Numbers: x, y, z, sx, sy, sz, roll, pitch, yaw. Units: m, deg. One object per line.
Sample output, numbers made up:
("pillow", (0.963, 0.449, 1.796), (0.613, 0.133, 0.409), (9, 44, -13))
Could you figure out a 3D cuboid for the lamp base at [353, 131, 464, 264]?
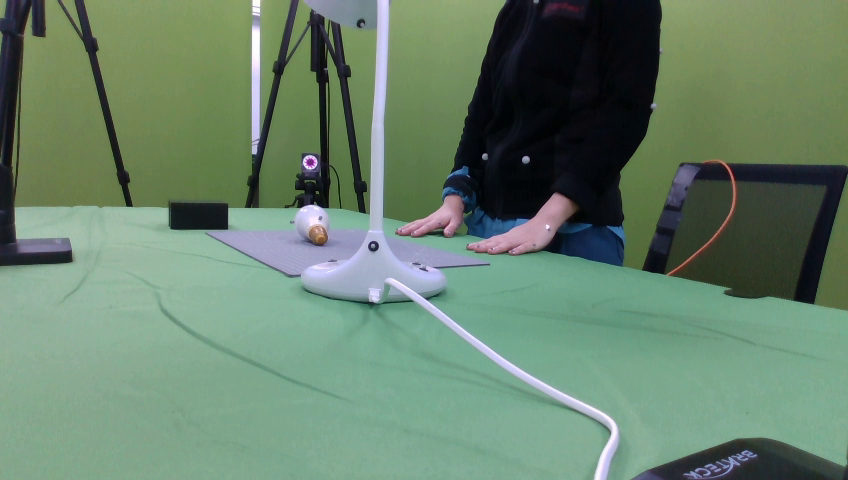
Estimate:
("lamp base", (-0.015, -0.062, 0.851), (0.161, 0.180, 0.178), (-1, 10, -20))
